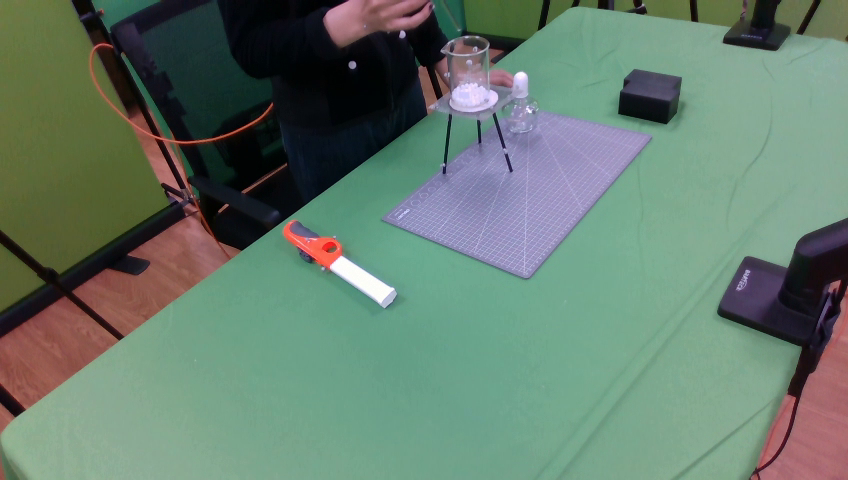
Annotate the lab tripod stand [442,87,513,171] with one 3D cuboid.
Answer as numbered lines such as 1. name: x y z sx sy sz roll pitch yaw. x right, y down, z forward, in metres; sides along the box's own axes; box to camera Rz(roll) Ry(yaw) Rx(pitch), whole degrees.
1. lab tripod stand: 0.097 -0.201 1.108 0.148 0.132 0.147 -4 40 4

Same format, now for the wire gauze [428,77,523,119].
1. wire gauze: 0.090 -0.249 1.063 0.120 0.011 0.125 24 48 30

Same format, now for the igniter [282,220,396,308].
1. igniter: -0.146 0.032 0.966 0.274 0.025 0.057 30 64 37

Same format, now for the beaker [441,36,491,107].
1. beaker: 0.074 -0.286 1.036 0.084 0.101 0.073 -1 41 8

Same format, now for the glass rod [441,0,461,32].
1. glass rod: 0.014 -0.373 0.882 0.008 0.201 0.008 -11 61 22

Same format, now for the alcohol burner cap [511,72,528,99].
1. alcohol burner cap: 0.185 -0.302 1.171 0.034 0.048 0.033 -2 42 2

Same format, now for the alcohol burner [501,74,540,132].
1. alcohol burner: 0.191 -0.275 1.194 0.078 0.119 0.077 -4 42 4
